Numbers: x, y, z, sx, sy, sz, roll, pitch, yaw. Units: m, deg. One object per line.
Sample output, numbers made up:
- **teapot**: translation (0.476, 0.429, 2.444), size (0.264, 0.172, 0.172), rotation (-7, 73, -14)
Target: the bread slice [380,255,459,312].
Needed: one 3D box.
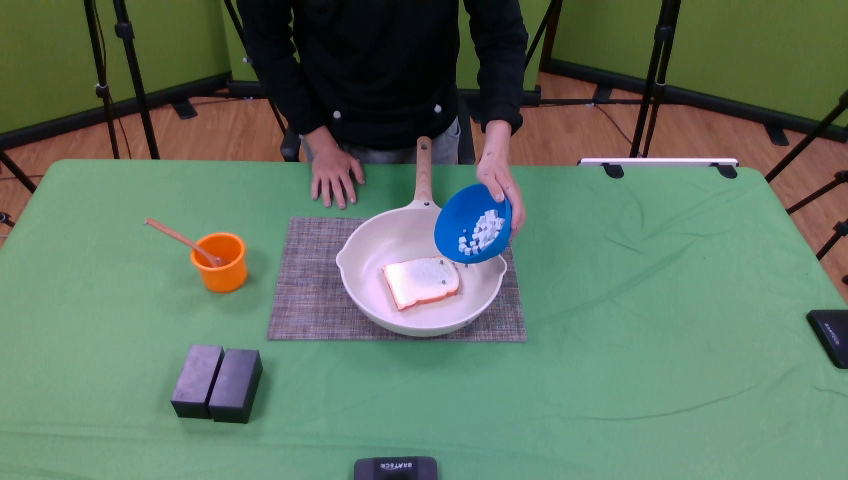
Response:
- **bread slice**: translation (-0.005, 0.074, 1.119), size (0.134, 0.018, 0.106), rotation (-16, 50, -16)

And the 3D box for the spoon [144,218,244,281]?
- **spoon**: translation (-0.401, 0.015, 1.064), size (0.195, 0.021, 0.041), rotation (41, 36, -29)

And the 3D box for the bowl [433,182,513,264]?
- **bowl**: translation (0.098, -0.017, 1.057), size (0.151, 0.077, 0.150), rotation (-21, 52, 30)

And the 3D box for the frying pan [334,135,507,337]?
- **frying pan**: translation (-0.004, -0.026, 1.160), size (0.307, 0.103, 0.485), rotation (4, 55, -2)
